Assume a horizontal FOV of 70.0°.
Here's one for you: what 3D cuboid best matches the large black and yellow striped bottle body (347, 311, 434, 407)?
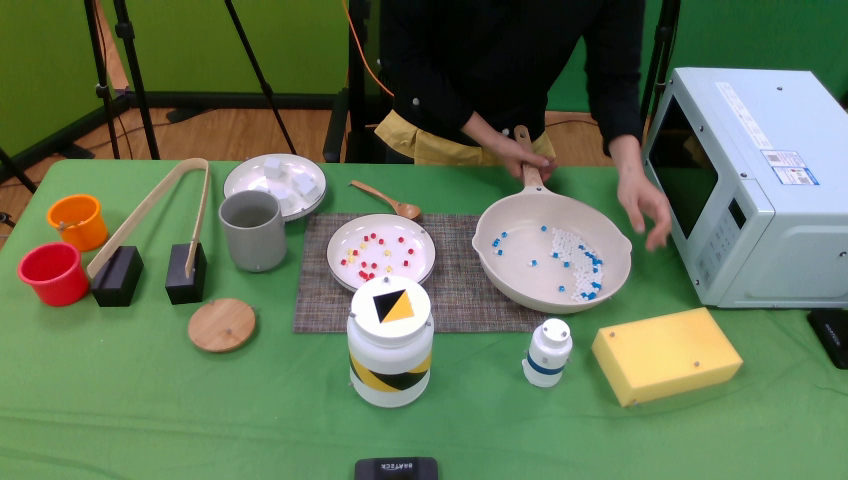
[{"bbox_3d":[-0.052,0.157,0.929,0.131,0.185,0.130,2,47,-2],"label":"large black and yellow striped bottle body"}]

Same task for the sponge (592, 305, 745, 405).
[{"bbox_3d":[0.405,0.190,1.014,0.207,0.061,0.117,-10,48,-12],"label":"sponge"}]

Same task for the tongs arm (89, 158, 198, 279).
[{"bbox_3d":[-0.529,-0.057,1.164,0.028,0.028,0.385,1,36,8],"label":"tongs arm"}]

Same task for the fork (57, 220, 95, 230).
[{"bbox_3d":[-0.624,-0.027,1.087,0.028,0.207,0.018,-3,92,-17],"label":"fork"}]

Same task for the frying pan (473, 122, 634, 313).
[{"bbox_3d":[0.235,-0.061,1.208,0.307,0.103,0.484,1,55,-7],"label":"frying pan"}]

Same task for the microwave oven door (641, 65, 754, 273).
[{"bbox_3d":[0.524,-0.148,1.193,0.039,0.245,0.353,0,47,-3],"label":"microwave oven door"}]

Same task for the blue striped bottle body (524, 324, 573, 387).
[{"bbox_3d":[0.200,0.178,0.970,0.063,0.121,0.062,2,46,-2],"label":"blue striped bottle body"}]

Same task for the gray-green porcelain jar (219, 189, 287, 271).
[{"bbox_3d":[-0.309,-0.014,1.113,0.106,0.127,0.105,2,46,-2],"label":"gray-green porcelain jar"}]

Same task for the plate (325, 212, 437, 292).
[{"bbox_3d":[-0.080,0.030,1.143,0.209,0.038,0.208,3,46,-2],"label":"plate"}]

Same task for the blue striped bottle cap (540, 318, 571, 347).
[{"bbox_3d":[0.203,0.142,0.933,0.044,0.021,0.044,3,49,-3],"label":"blue striped bottle cap"}]

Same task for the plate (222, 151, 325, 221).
[{"bbox_3d":[-0.310,-0.106,1.262,0.208,0.039,0.206,2,47,-2],"label":"plate"}]

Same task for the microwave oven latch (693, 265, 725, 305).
[{"bbox_3d":[0.522,0.082,1.116,0.030,0.029,0.078,2,46,-1],"label":"microwave oven latch"}]

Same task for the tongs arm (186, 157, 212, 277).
[{"bbox_3d":[-0.445,-0.058,1.168,0.051,0.026,0.382,-5,37,-6],"label":"tongs arm"}]

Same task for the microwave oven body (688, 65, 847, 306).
[{"bbox_3d":[0.669,-0.111,1.176,0.326,0.261,0.439,0,46,-3],"label":"microwave oven body"}]

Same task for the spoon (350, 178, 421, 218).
[{"bbox_3d":[-0.084,-0.092,1.273,0.193,0.022,0.041,31,68,25],"label":"spoon"}]

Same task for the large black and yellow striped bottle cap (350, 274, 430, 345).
[{"bbox_3d":[-0.048,0.097,0.868,0.115,0.019,0.114,3,48,-3],"label":"large black and yellow striped bottle cap"}]

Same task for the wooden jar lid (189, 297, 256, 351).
[{"bbox_3d":[-0.342,0.145,1.033,0.108,0.021,0.107,2,45,-2],"label":"wooden jar lid"}]
